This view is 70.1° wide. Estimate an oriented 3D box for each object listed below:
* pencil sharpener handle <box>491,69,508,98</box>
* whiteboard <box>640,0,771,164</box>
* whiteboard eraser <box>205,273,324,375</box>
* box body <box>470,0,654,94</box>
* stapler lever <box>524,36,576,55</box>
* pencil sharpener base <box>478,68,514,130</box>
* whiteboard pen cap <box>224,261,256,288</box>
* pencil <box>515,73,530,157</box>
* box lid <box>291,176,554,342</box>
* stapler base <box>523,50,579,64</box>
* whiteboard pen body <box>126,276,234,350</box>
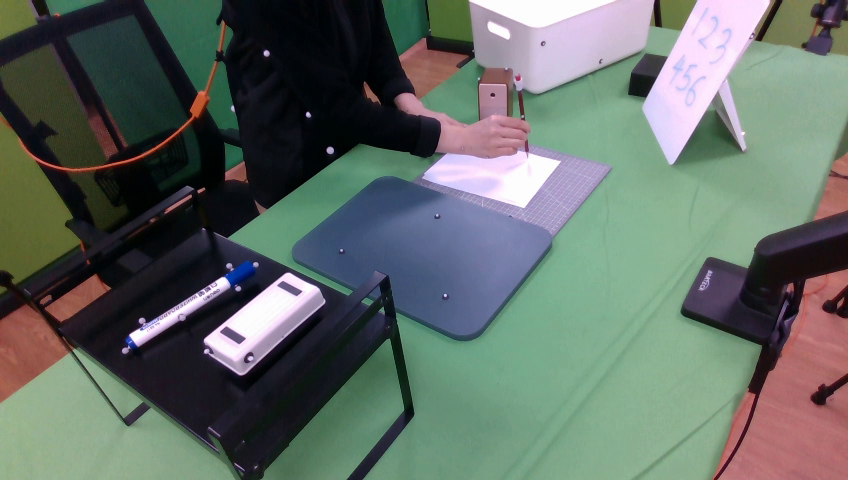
[{"bbox_3d":[0.155,-0.329,1.254,0.036,0.068,0.030,16,43,4],"label":"pencil sharpener handle"},{"bbox_3d":[0.543,-0.299,1.076,0.144,0.305,0.216,12,40,-7],"label":"whiteboard"},{"bbox_3d":[-0.157,0.084,0.605,0.055,0.042,0.113,24,49,30],"label":"whiteboard eraser"},{"bbox_3d":[0.319,-0.498,1.405,0.365,0.161,0.252,-26,43,-21],"label":"box body"},{"bbox_3d":[0.296,-0.456,1.418,0.117,0.040,0.027,4,40,17],"label":"stapler lever"},{"bbox_3d":[0.148,-0.286,1.224,0.061,0.107,0.076,5,41,15],"label":"pencil sharpener base"},{"bbox_3d":[-0.207,0.039,0.677,0.033,0.018,0.018,-35,47,-18],"label":"whiteboard pen cap"},{"bbox_3d":[0.174,-0.212,1.052,0.012,0.195,0.012,-7,53,10],"label":"pencil"},{"bbox_3d":[-0.005,0.011,0.972,0.368,0.015,0.264,21,49,30],"label":"box lid"},{"bbox_3d":[0.301,-0.436,1.434,0.130,0.024,0.041,5,40,17],"label":"stapler base"},{"bbox_3d":[-0.251,0.070,0.649,0.141,0.017,0.017,-36,48,-26],"label":"whiteboard pen body"}]
